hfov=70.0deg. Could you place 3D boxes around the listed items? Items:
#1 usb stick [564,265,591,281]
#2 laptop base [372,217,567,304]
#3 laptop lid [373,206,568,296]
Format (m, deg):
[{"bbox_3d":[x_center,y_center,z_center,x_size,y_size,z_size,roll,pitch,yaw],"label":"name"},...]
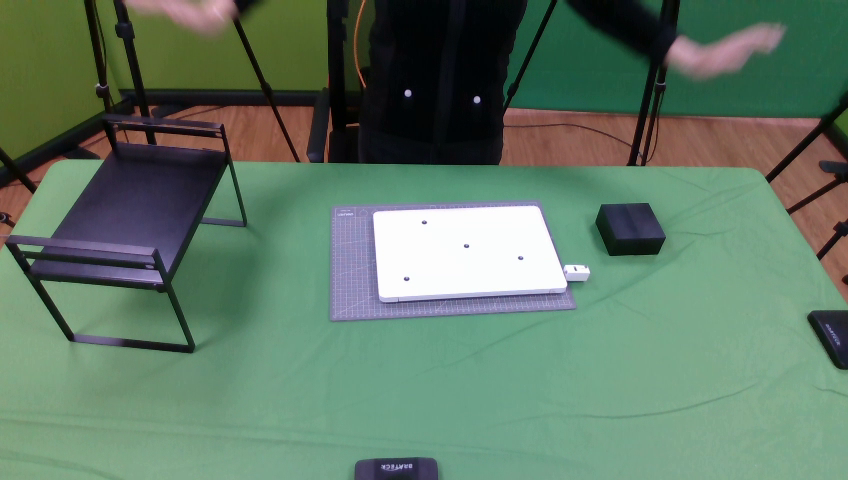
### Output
[{"bbox_3d":[0.282,0.062,1.143,0.059,0.027,0.021,-1,45,-6],"label":"usb stick"},{"bbox_3d":[0.081,0.024,1.181,0.355,0.023,0.234,-3,43,-6],"label":"laptop base"},{"bbox_3d":[0.081,0.014,1.174,0.357,0.013,0.240,-1,44,-5],"label":"laptop lid"}]
